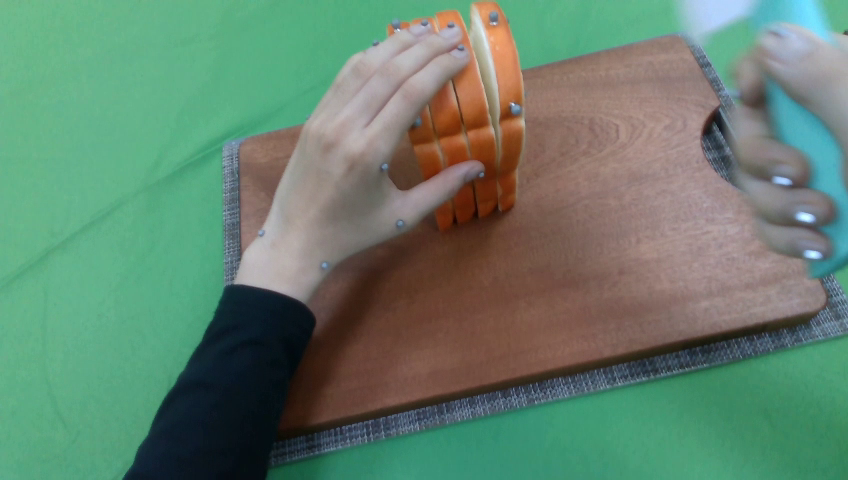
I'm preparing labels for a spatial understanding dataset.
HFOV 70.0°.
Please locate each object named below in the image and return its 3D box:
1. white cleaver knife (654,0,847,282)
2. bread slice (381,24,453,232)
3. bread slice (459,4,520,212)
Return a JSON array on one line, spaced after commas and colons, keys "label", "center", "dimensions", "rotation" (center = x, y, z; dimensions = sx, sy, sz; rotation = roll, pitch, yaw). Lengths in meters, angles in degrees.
[{"label": "white cleaver knife", "center": [0.125, -0.119, 0.263], "dimensions": [0.021, 0.066, 0.286], "rotation": [-18, 90, -18]}, {"label": "bread slice", "center": [-0.004, -0.086, 0.436], "dimensions": [0.018, 0.135, 0.106], "rotation": [-15, 57, 4]}, {"label": "bread slice", "center": [0.046, -0.097, 0.435], "dimensions": [0.019, 0.132, 0.104], "rotation": [-12, 60, -4]}]
